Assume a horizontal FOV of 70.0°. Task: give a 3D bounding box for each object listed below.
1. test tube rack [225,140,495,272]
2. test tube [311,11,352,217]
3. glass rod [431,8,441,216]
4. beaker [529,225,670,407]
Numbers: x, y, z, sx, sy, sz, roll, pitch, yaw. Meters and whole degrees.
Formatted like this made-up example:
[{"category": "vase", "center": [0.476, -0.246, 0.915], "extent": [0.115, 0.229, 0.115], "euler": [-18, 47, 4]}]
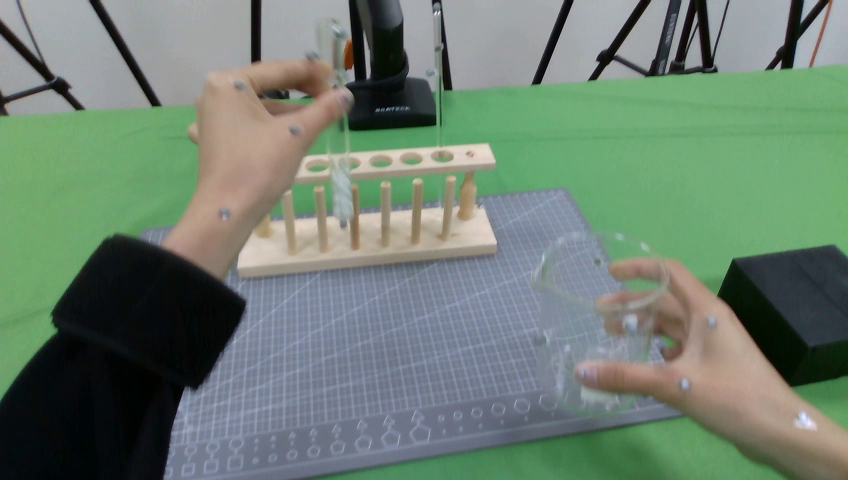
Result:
[{"category": "test tube rack", "center": [-0.055, -0.033, 0.571], "extent": [0.243, 0.086, 0.066], "euler": [-5, 40, -7]}, {"category": "test tube", "center": [-0.062, -0.079, 0.414], "extent": [0.017, 0.151, 0.017], "euler": [0, 38, 0]}, {"category": "glass rod", "center": [0.012, -0.109, 0.560], "extent": [0.008, 0.201, 0.008], "euler": [-1, 34, 1]}, {"category": "beaker", "center": [0.107, 0.052, 0.393], "extent": [0.084, 0.101, 0.073], "euler": [-6, 36, -4]}]
